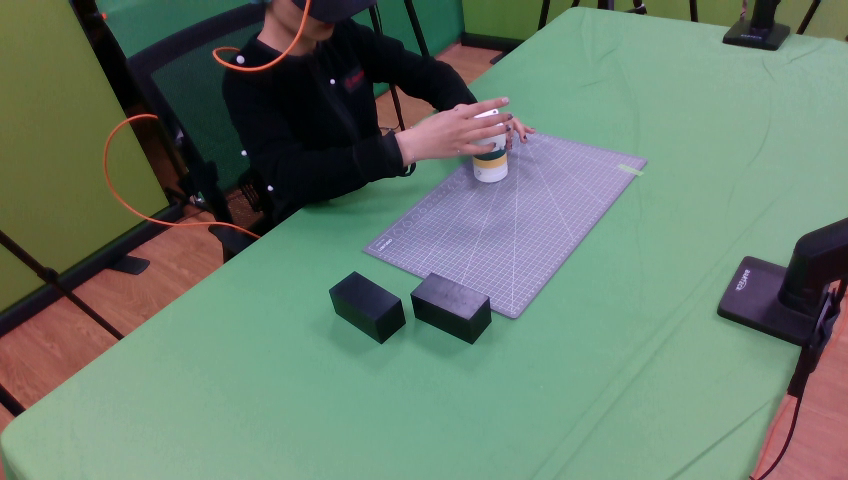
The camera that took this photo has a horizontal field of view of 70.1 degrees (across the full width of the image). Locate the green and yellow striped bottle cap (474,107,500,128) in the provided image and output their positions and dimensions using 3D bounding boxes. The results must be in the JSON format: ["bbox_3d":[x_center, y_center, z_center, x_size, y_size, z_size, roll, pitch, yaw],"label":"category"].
[{"bbox_3d":[0.108,-0.211,1.041,0.045,0.020,0.045,-5,38,5],"label":"green and yellow striped bottle cap"}]

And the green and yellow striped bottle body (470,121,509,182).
[{"bbox_3d":[0.117,-0.168,1.078,0.063,0.120,0.063,-6,40,5],"label":"green and yellow striped bottle body"}]
